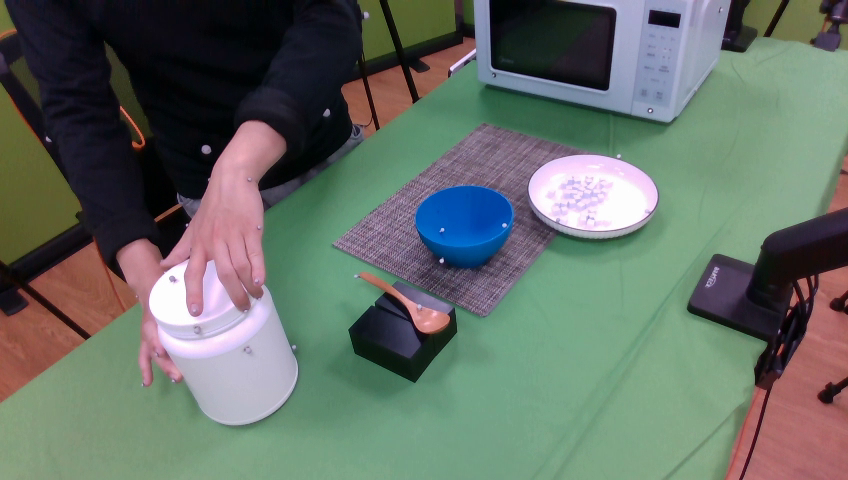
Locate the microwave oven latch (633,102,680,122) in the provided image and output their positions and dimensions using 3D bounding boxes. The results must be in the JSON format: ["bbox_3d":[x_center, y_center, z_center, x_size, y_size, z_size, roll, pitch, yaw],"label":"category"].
[{"bbox_3d":[0.444,-0.249,1.157,0.078,0.029,0.030,21,49,30],"label":"microwave oven latch"}]

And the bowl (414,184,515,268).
[{"bbox_3d":[0.063,-0.010,0.922,0.151,0.077,0.150,-4,40,4],"label":"bowl"}]

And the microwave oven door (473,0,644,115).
[{"bbox_3d":[0.257,-0.396,1.199,0.353,0.245,0.039,21,48,29],"label":"microwave oven door"}]

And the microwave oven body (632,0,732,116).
[{"bbox_3d":[0.377,-0.462,1.267,0.438,0.261,0.327,21,48,30],"label":"microwave oven body"}]

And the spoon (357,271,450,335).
[{"bbox_3d":[-0.034,0.078,0.812,0.042,0.022,0.192,-36,43,-23],"label":"spoon"}]

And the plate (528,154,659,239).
[{"bbox_3d":[0.274,-0.069,0.993,0.209,0.038,0.208,-2,42,2],"label":"plate"}]

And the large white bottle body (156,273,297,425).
[{"bbox_3d":[-0.239,0.121,0.735,0.130,0.185,0.130,-4,41,4],"label":"large white bottle body"}]

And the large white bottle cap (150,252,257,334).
[{"bbox_3d":[-0.247,0.057,0.679,0.115,0.018,0.114,-3,41,3],"label":"large white bottle cap"}]
